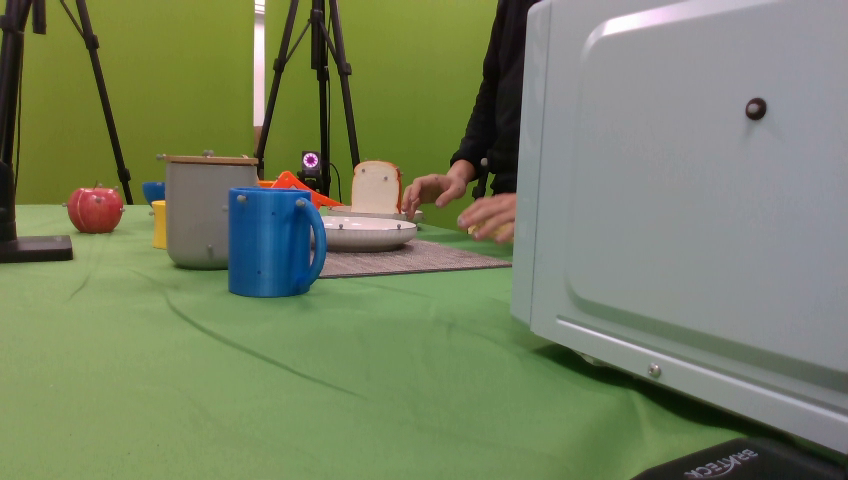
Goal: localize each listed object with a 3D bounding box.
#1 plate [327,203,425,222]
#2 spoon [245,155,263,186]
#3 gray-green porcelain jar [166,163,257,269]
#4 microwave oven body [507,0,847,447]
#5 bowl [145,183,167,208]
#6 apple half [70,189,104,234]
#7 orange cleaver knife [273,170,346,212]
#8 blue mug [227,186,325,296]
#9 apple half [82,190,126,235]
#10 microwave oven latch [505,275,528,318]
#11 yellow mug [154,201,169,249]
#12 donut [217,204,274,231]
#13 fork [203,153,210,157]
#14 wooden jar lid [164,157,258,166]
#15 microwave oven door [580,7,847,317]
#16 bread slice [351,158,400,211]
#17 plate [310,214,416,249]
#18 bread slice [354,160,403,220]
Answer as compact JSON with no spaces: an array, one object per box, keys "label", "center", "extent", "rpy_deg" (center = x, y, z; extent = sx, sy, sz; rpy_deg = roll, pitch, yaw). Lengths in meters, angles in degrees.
[{"label":"plate","center":[-0.102,-0.053,1.299],"extent":[0.209,0.038,0.209],"rpy_deg":[2,8,0]},{"label":"spoon","center":[-0.421,-0.150,1.540],"extent":[0.042,0.021,0.193],"rpy_deg":[-5,55,-37]},{"label":"gray-green porcelain jar","center":[-0.263,-0.031,0.754],"extent":[0.106,0.126,0.106],"rpy_deg":[2,7,0]},{"label":"microwave oven body","center":[0.331,-0.042,0.425],"extent":[0.444,0.260,0.324],"rpy_deg":[-2,8,-31]},{"label":"bowl","center":[-0.459,-0.068,1.175],"extent":[0.151,0.077,0.151],"rpy_deg":[2,7,0]},{"label":"apple half","center":[-0.552,-0.048,1.010],"extent":[0.053,0.074,0.081],"rpy_deg":[-1,9,26]},{"label":"orange cleaver knife","center":[-0.253,-0.089,1.368],"extent":[0.212,0.077,0.012],"rpy_deg":[26,-8,-42]},{"label":"blue mug","center":[-0.147,0.000,0.618],"extent":[0.116,0.106,0.083],"rpy_deg":[7,9,32]},{"label":"apple half","center":[-0.516,-0.046,0.994],"extent":[0.032,0.081,0.081],"rpy_deg":[0,6,26]},{"label":"microwave oven latch","center":[0.100,0.041,0.472],"extent":[0.079,0.029,0.030],"rpy_deg":[-2,8,-30]},{"label":"yellow mug","center":[-0.337,-0.022,0.899],"extent":[0.130,0.064,0.100],"rpy_deg":[8,9,34]},{"label":"donut","center":[-0.318,-0.038,1.080],"extent":[0.099,0.048,0.099],"rpy_deg":[3,7,0]},{"label":"fork","center":[-0.480,-0.135,1.411],"extent":[0.028,0.018,0.207],"rpy_deg":[1,-34,0]},{"label":"wooden jar lid","center":[-0.261,-0.093,0.746],"extent":[0.108,0.020,0.108],"rpy_deg":[1,9,0]},{"label":"microwave oven door","center":[0.295,-0.067,0.570],"extent":[0.358,0.243,0.039],"rpy_deg":[-3,8,-31]},{"label":"bread slice","center":[-0.102,-0.104,1.274],"extent":[0.107,0.134,0.018],"rpy_deg":[-1,4,4]},{"label":"plate","center":[-0.117,-0.014,0.967],"extent":[0.208,0.039,0.207],"rpy_deg":[2,7,0]},{"label":"bread slice","center":[-0.096,-0.110,1.324],"extent":[0.105,0.131,0.019],"rpy_deg":[5,2,5]}]
